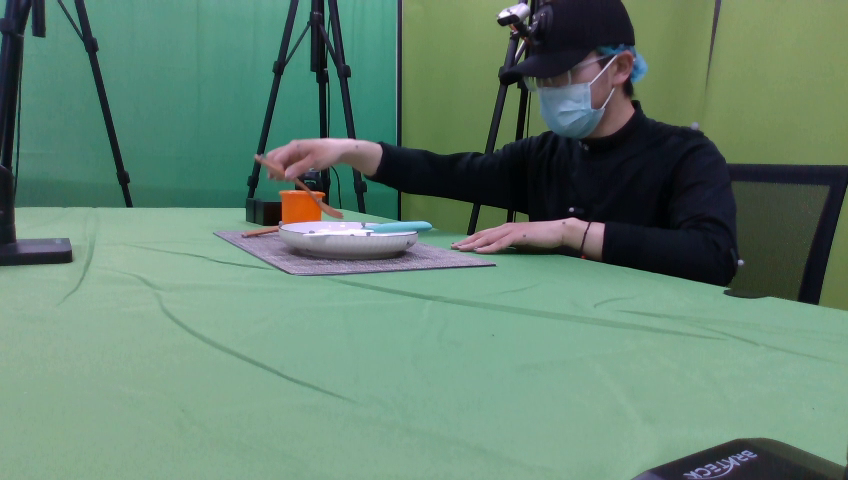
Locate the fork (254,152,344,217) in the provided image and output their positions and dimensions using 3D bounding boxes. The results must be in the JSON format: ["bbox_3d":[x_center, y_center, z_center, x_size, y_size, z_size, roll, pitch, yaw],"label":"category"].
[{"bbox_3d":[-0.224,-0.099,1.105,0.208,0.018,0.028,40,23,-35],"label":"fork"}]

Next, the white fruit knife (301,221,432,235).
[{"bbox_3d":[-0.079,-0.016,0.858,0.208,0.016,0.027,-4,13,-38],"label":"white fruit knife"}]

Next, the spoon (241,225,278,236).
[{"bbox_3d":[-0.232,-0.021,1.082,0.195,0.021,0.041,-3,27,-37],"label":"spoon"}]

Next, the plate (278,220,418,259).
[{"bbox_3d":[-0.114,-0.002,0.914,0.209,0.038,0.209,2,8,0],"label":"plate"}]
